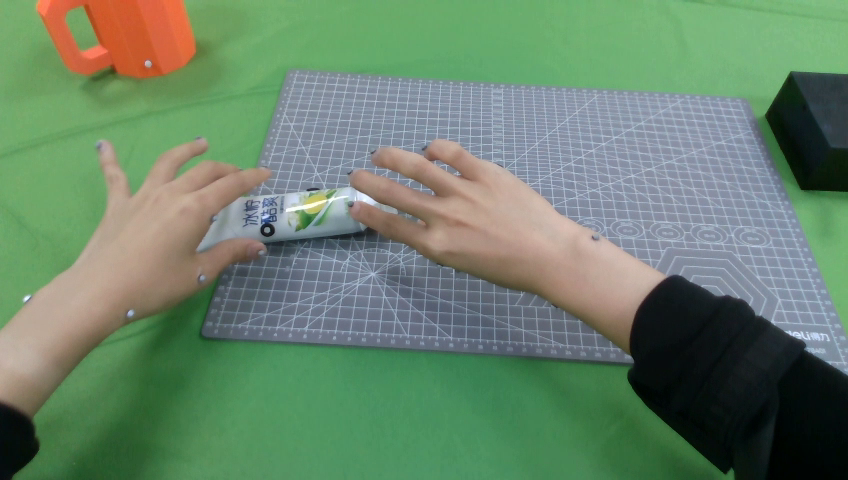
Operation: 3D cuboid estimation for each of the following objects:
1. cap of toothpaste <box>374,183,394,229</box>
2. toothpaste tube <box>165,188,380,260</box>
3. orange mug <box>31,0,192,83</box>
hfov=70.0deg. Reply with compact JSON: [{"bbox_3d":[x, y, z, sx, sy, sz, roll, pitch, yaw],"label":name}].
[{"bbox_3d":[-0.031,-0.026,0.465,0.011,0.037,0.037,-11,52,-11],"label":"cap of toothpaste"},{"bbox_3d":[-0.112,-0.017,0.463,0.165,0.035,0.054,-7,47,-3],"label":"toothpaste tube"},{"bbox_3d":[-0.288,-0.205,0.562,0.083,0.101,0.126,38,55,25],"label":"orange mug"}]
